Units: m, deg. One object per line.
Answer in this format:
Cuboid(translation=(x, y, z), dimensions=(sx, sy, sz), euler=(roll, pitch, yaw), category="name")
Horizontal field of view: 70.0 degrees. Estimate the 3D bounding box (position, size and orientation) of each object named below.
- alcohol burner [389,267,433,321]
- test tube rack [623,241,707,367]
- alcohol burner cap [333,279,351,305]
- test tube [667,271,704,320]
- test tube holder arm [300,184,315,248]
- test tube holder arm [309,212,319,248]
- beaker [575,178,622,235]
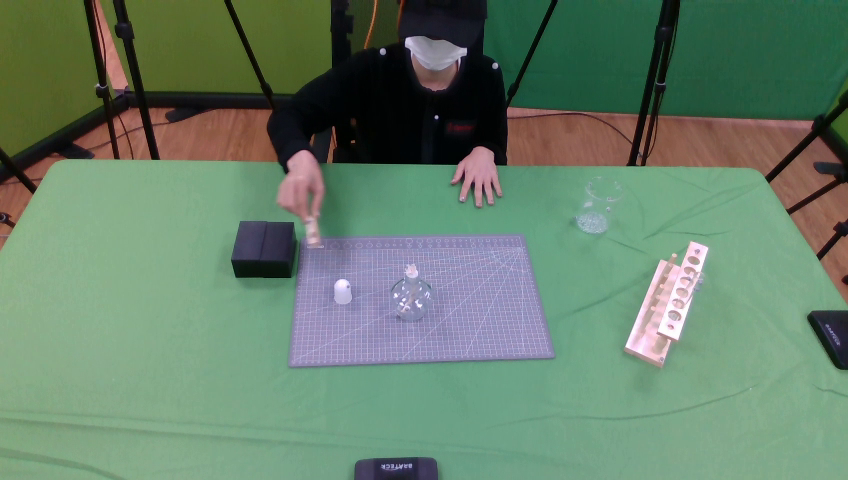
Cuboid(translation=(-0.022, 0.085, 1.046), dimensions=(0.078, 0.119, 0.077), euler=(2, 48, -2), category="alcohol burner")
Cuboid(translation=(0.435, 0.104, 1.089), dimensions=(0.066, 0.085, 0.242), euler=(24, 49, 19), category="test tube rack")
Cuboid(translation=(-0.148, 0.090, 1.083), dimensions=(0.034, 0.048, 0.033), euler=(3, 47, -3), category="alcohol burner cap")
Cuboid(translation=(0.432, 0.104, 1.019), dimensions=(0.017, 0.151, 0.017), euler=(3, 48, -3), category="test tube")
Cuboid(translation=(-0.216, -0.048, 1.120), dimensions=(0.013, 0.015, 0.177), euler=(-9, 43, -12), category="test tube holder arm")
Cuboid(translation=(-0.199, -0.019, 1.089), dimensions=(0.010, 0.015, 0.087), euler=(-9, 43, -12), category="test tube holder arm")
Cuboid(translation=(0.356, -0.068, 1.240), dimensions=(0.084, 0.101, 0.073), euler=(-18, 50, -21), category="beaker")
